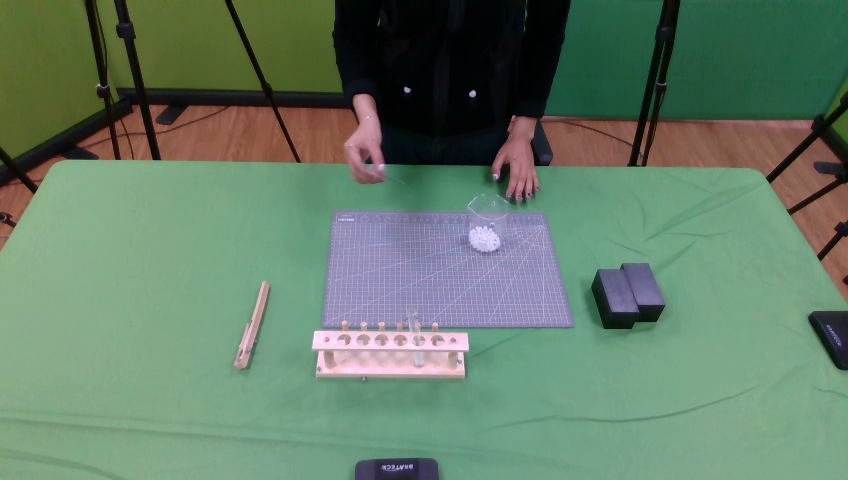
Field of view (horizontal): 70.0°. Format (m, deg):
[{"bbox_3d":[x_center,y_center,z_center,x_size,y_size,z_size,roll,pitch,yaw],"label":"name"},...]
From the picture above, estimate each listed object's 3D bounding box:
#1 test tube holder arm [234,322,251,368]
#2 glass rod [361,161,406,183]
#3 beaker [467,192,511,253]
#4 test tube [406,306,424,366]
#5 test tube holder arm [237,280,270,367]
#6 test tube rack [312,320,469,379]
[{"bbox_3d":[-0.299,0.173,1.013,0.010,0.015,0.087,-16,42,22],"label":"test tube holder arm"},{"bbox_3d":[-0.072,-0.124,1.129,0.008,0.200,0.008,-2,85,20],"label":"glass rod"},{"bbox_3d":[0.121,-0.031,1.179,0.084,0.101,0.073,3,46,0],"label":"beaker"},{"bbox_3d":[-0.013,0.152,0.939,0.017,0.151,0.017,-3,48,3],"label":"test tube"},{"bbox_3d":[-0.290,0.140,1.042,0.013,0.015,0.177,-17,41,22],"label":"test tube holder arm"},{"bbox_3d":[-0.054,0.173,0.984,0.242,0.085,0.066,1,46,-3],"label":"test tube rack"}]
